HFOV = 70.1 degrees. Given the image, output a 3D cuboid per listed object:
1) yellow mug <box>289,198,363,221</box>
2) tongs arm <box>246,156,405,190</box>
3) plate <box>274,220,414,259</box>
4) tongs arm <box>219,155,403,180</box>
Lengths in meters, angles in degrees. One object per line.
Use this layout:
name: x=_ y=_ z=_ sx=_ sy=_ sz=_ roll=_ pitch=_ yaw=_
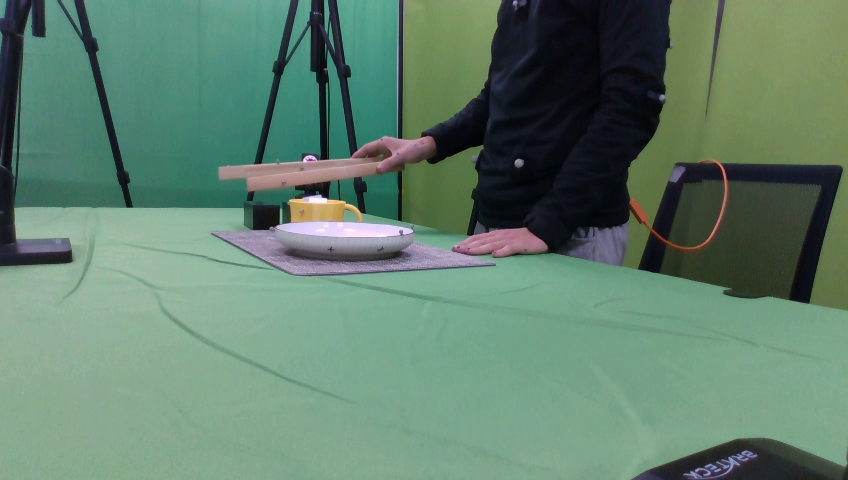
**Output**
yellow mug: x=-0.174 y=-0.039 z=1.072 sx=0.131 sy=0.064 sz=0.100 roll=3 pitch=6 yaw=0
tongs arm: x=-0.174 y=-0.135 z=1.188 sx=0.389 sy=0.028 sz=0.028 roll=-15 pitch=15 yaw=-43
plate: x=-0.118 y=-0.001 z=0.903 sx=0.208 sy=0.039 sz=0.207 roll=3 pitch=7 yaw=0
tongs arm: x=-0.220 y=-0.151 z=1.247 sx=0.387 sy=0.026 sz=0.050 roll=-10 pitch=16 yaw=-32
